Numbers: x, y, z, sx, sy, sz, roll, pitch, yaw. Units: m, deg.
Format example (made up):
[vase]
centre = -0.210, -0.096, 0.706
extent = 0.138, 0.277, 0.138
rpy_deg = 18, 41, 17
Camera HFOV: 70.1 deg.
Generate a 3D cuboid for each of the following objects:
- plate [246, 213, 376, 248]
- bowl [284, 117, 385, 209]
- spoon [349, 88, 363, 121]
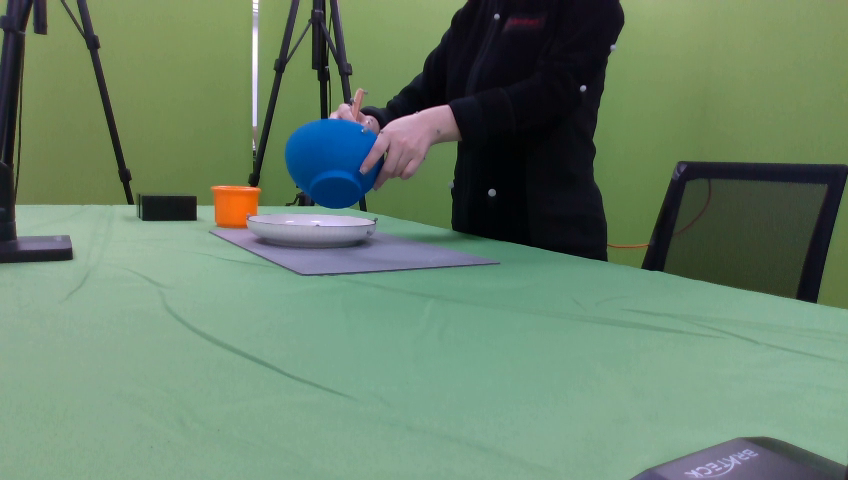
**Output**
[plate]
centre = -0.185, -0.017, 0.994
extent = 0.209, 0.038, 0.209
rpy_deg = 3, 8, 0
[bowl]
centre = -0.131, -0.099, 0.890
extent = 0.151, 0.076, 0.151
rpy_deg = -4, -35, -3
[spoon]
centre = -0.121, -0.170, 0.962
extent = 0.041, 0.193, 0.021
rpy_deg = 7, -33, 3
